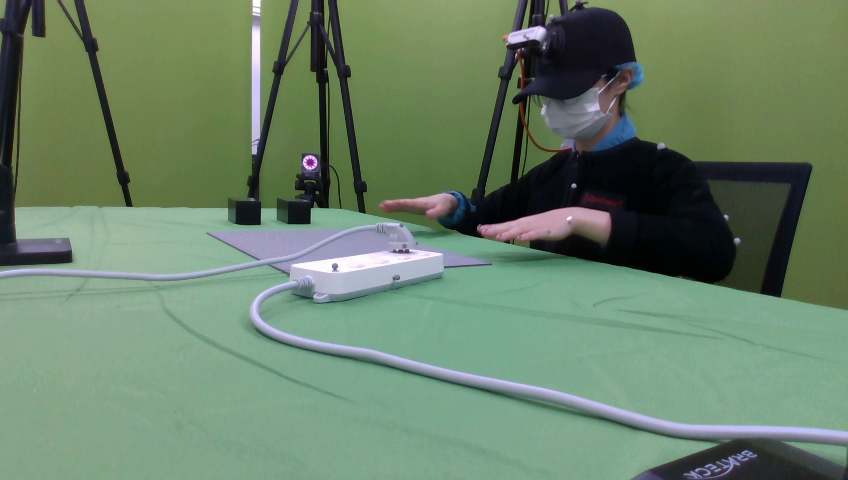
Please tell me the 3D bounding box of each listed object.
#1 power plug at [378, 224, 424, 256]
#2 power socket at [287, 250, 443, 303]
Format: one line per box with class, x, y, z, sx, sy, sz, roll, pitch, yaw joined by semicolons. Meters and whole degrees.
power plug;-0.025;0.009;0.729;0.053;0.035;0.072;5;27;-23
power socket;-0.059;0.035;0.688;0.072;0.032;0.228;6;8;34
